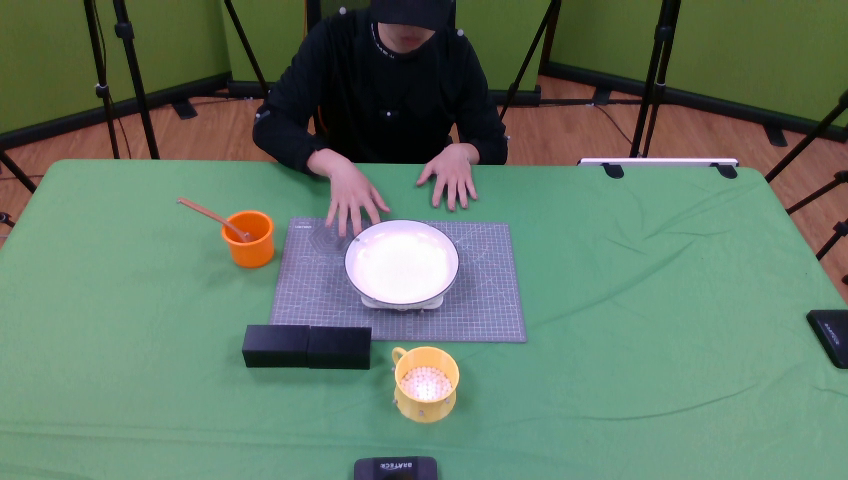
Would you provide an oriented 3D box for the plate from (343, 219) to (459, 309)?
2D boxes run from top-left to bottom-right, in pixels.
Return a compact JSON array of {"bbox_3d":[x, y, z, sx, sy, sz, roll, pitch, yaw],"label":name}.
[{"bbox_3d":[-0.041,0.046,1.094,0.209,0.038,0.208,2,46,-2],"label":"plate"}]

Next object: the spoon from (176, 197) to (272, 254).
[{"bbox_3d":[-0.362,-0.028,1.108,0.021,0.195,0.041,-35,36,24],"label":"spoon"}]

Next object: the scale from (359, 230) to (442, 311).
[{"bbox_3d":[-0.043,0.047,1.138,0.149,0.032,0.199,2,46,-3],"label":"scale"}]

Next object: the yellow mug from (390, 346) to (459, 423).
[{"bbox_3d":[-0.009,0.217,0.958,0.100,0.064,0.130,-33,56,-31],"label":"yellow mug"}]
